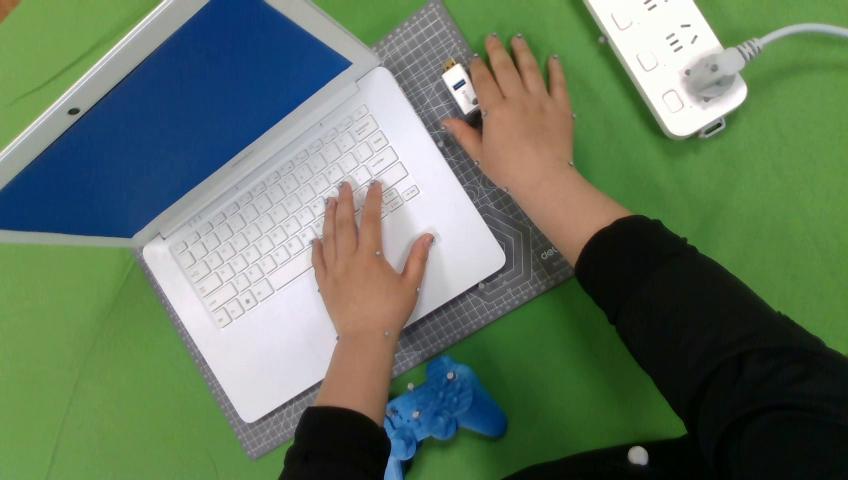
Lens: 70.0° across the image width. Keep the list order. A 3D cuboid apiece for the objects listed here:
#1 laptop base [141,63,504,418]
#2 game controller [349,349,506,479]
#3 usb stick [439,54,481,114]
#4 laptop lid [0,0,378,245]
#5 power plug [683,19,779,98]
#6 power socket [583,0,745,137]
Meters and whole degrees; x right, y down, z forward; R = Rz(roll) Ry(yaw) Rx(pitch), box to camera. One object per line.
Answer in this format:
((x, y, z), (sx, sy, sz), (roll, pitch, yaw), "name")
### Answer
((-0.120, 0.011, 0.642), (0.354, 0.023, 0.235), (-33, 89, 16), "laptop base")
((-0.005, 0.178, 0.613), (0.155, 0.052, 0.097), (-32, 83, 16), "game controller")
((0.031, -0.151, 0.575), (0.021, 0.027, 0.059), (-28, 84, 9), "usb stick")
((-0.224, -0.093, 0.537), (0.356, 0.243, 0.013), (-34, 77, 17), "laptop lid")
((0.250, -0.143, 0.495), (0.072, 0.053, 0.035), (-21, 88, 12), "power plug")
((0.194, -0.193, 0.526), (0.072, 0.032, 0.226), (-31, 87, 17), "power socket")
